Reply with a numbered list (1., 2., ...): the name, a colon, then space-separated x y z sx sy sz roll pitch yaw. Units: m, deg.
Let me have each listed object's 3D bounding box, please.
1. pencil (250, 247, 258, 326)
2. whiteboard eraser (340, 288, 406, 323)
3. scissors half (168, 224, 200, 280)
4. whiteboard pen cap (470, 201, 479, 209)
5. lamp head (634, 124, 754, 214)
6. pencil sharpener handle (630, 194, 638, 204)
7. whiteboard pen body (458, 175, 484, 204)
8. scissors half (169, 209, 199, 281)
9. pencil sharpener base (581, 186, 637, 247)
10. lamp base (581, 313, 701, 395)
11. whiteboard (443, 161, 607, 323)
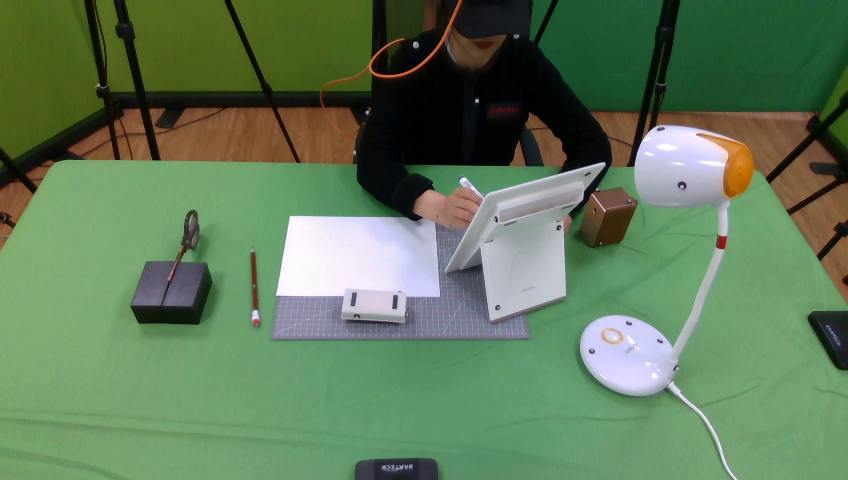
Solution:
1. pencil: -0.312 0.079 1.107 0.012 0.012 0.192 -7 46 -11
2. whiteboard eraser: -0.088 0.117 1.060 0.113 0.042 0.055 3 45 -1
3. scissors half: -0.440 0.023 1.111 0.013 0.040 0.174 7 29 -6
4. whiteboard pen cap: 0.113 -0.073 1.279 0.033 0.018 0.018 5 46 6
5. lamp head: 0.351 -0.089 0.776 0.112 0.113 0.122 -30 30 -28
6. pencil sharpener handle: 0.417 -0.068 1.215 0.031 0.068 0.036 -11 60 -14
7. whiteboard pen body: 0.099 -0.074 1.084 0.017 0.017 0.140 -17 45 -20
8. scissors half: -0.438 0.007 1.098 0.013 0.040 0.174 3 48 -3
9. pencil sharpener base: 0.369 -0.047 1.209 0.077 0.107 0.061 -11 47 -15
10. lamp base: 0.361 0.144 0.973 0.178 0.181 0.160 34 53 23
11. whiteboard: 0.185 0.025 1.029 0.217 0.306 0.143 -15 68 -18
